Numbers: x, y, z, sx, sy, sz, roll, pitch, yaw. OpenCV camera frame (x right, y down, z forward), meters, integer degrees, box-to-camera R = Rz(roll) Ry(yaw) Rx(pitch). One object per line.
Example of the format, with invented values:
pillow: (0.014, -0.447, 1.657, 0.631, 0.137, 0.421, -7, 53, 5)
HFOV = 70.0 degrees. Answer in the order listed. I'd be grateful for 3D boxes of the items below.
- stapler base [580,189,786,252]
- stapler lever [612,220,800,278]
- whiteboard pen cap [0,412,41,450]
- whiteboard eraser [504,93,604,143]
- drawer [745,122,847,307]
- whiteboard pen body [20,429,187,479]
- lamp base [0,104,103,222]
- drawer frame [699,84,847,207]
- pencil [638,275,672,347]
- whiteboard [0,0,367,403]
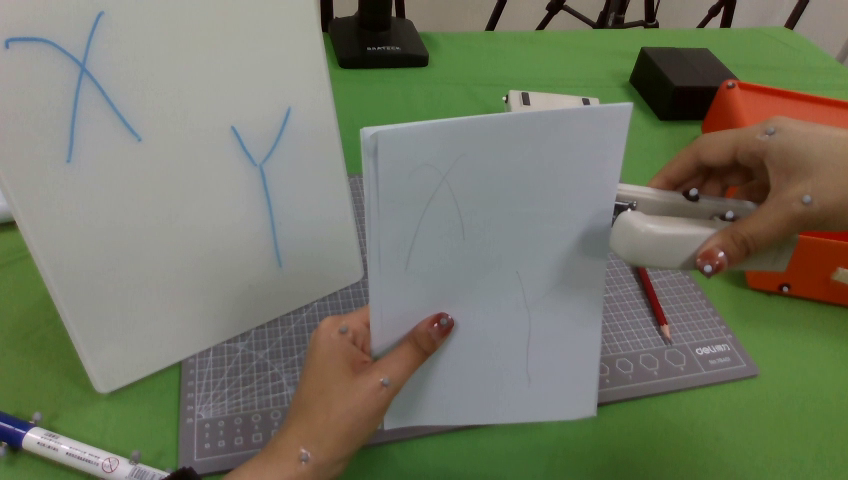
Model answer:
stapler base: (0.166, -0.003, 0.379, 0.131, 0.041, 0.024, 6, 26, -7)
stapler lever: (0.168, 0.007, 0.357, 0.118, 0.027, 0.040, 6, 26, -7)
whiteboard pen cap: (-0.266, 0.123, 0.391, 0.033, 0.018, 0.018, 15, 44, 9)
whiteboard eraser: (0.152, -0.144, 0.719, 0.113, 0.042, 0.055, 6, 45, -3)
drawer: (0.415, -0.028, 0.613, 0.194, 0.074, 0.210, 10, 43, 3)
whiteboard pen body: (-0.210, 0.140, 0.383, 0.140, 0.017, 0.017, 15, 44, 8)
lamp base: (-0.392, -0.131, 0.516, 0.178, 0.182, 0.160, 22, 45, 17)
drawer frame: (0.425, -0.071, 0.656, 0.201, 0.083, 0.211, 10, 43, 2)
pencil: (0.202, 0.021, 0.575, 0.012, 0.012, 0.192, 2, 46, -7)
whiteboard: (-0.190, -0.081, 0.448, 0.217, 0.308, 0.142, -23, 33, -28)
